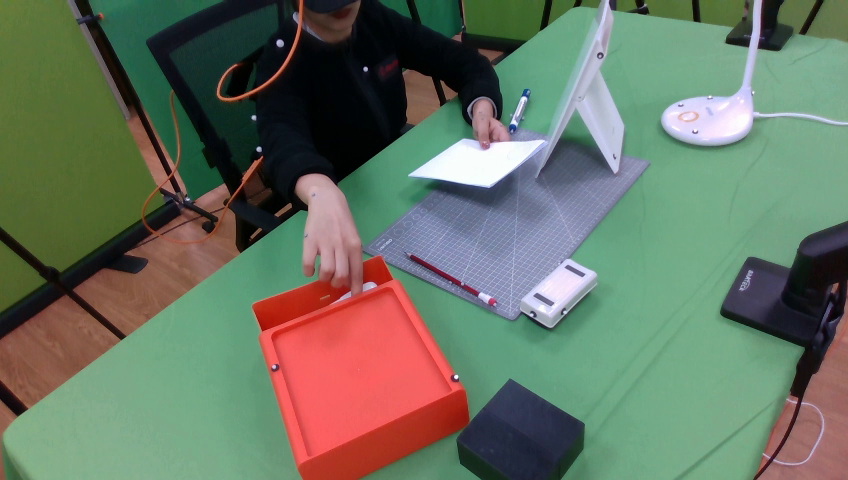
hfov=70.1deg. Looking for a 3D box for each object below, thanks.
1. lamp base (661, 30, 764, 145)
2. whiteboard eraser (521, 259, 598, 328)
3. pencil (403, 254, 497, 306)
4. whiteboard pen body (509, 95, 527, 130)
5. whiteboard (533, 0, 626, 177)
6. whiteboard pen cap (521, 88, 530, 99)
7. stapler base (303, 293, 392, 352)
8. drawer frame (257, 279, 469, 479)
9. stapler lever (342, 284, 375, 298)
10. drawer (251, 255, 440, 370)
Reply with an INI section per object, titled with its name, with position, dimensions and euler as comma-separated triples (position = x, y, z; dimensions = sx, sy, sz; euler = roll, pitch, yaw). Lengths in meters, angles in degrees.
[lamp base]
position = 0.535, -0.287, 1.096
dimensions = 0.179, 0.181, 0.159
euler = -10, 40, -4
[whiteboard eraser]
position = 0.189, 0.076, 0.843
dimensions = 0.055, 0.042, 0.113
euler = 29, 53, 37
[pencil]
position = 0.034, 0.056, 0.914
dimensions = 0.192, 0.012, 0.012
euler = 27, 52, 38
[whiteboard pen body]
position = 0.199, -0.273, 1.262
dimensions = 0.017, 0.017, 0.140
euler = 7, 44, 18
[whiteboard]
position = 0.321, -0.258, 1.050
dimensions = 0.144, 0.306, 0.217
euler = 21, 45, 5
[whiteboard pen cap]
position = 0.219, -0.312, 1.301
dimensions = 0.018, 0.018, 0.033
euler = 6, 47, 17
[stapler base]
position = -0.110, 0.109, 0.854
dimensions = 0.131, 0.024, 0.041
euler = -27, 45, -9
[drawer frame]
position = -0.080, 0.169, 0.750
dimensions = 0.202, 0.083, 0.211
euler = -21, 42, -15
[stapler lever]
position = -0.114, 0.098, 0.840
dimensions = 0.118, 0.040, 0.026
euler = -22, 44, -13
[drawer]
position = -0.105, 0.135, 0.798
dimensions = 0.195, 0.073, 0.210
euler = -21, 42, -15
